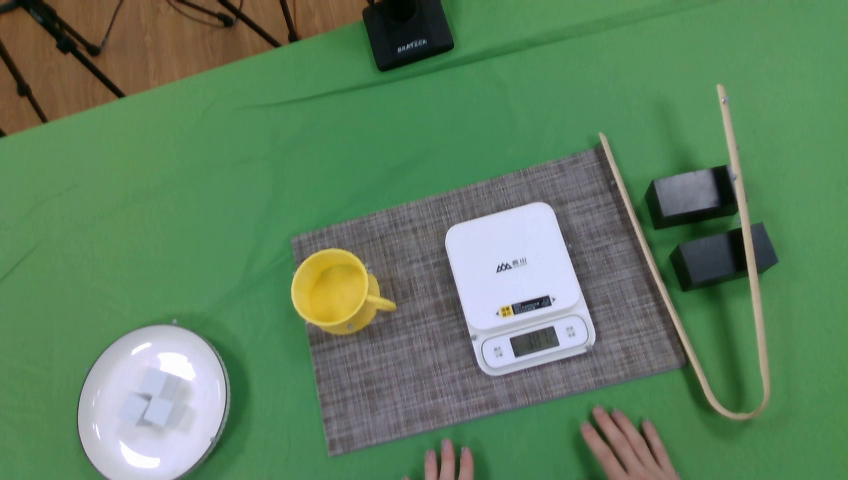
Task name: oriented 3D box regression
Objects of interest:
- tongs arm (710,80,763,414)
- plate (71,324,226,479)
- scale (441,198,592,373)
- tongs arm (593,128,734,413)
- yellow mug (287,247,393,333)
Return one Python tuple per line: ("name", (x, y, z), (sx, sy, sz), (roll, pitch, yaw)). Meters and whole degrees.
("tongs arm", (0.349, 0.002, 0.703), (0.050, 0.027, 0.383), (-13, 77, 33))
("plate", (-0.353, 0.215, 0.790), (0.207, 0.039, 0.206), (-2, 73, 8))
("scale", (0.113, 0.054, 0.764), (0.148, 0.032, 0.199), (-17, 72, 4))
("tongs arm", (0.285, 0.025, 0.748), (0.028, 0.028, 0.384), (-26, 69, 26))
("yellow mug", (-0.103, 0.068, 0.775), (0.130, 0.064, 0.099), (12, 75, 11))
